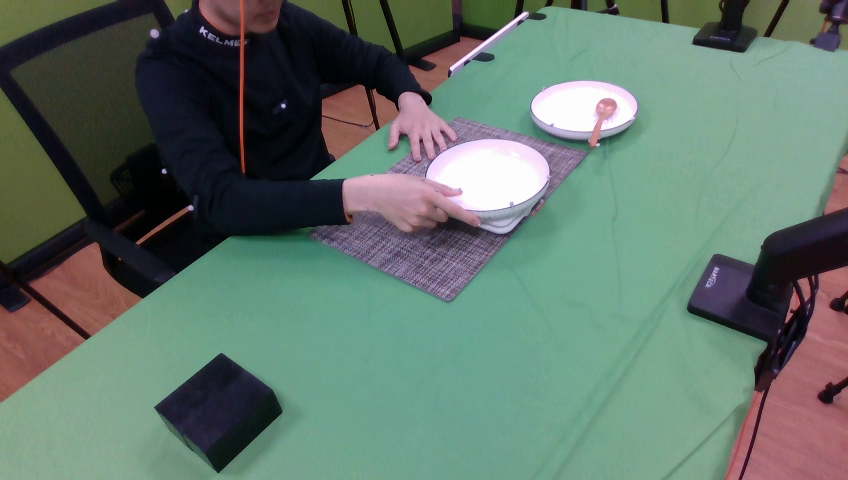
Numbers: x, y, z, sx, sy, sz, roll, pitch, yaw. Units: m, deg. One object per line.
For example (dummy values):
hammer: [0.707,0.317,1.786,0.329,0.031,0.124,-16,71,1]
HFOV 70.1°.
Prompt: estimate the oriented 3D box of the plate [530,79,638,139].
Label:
plate: [0.317,-0.257,1.209,0.209,0.038,0.208,-4,41,4]

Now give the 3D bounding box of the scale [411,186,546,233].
scale: [0.092,-0.083,1.039,0.199,0.032,0.149,22,48,30]

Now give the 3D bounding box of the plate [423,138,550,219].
plate: [0.104,-0.099,1.005,0.207,0.039,0.206,-4,41,4]

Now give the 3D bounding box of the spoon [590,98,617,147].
spoon: [0.334,-0.225,1.145,0.041,0.022,0.194,11,37,20]
